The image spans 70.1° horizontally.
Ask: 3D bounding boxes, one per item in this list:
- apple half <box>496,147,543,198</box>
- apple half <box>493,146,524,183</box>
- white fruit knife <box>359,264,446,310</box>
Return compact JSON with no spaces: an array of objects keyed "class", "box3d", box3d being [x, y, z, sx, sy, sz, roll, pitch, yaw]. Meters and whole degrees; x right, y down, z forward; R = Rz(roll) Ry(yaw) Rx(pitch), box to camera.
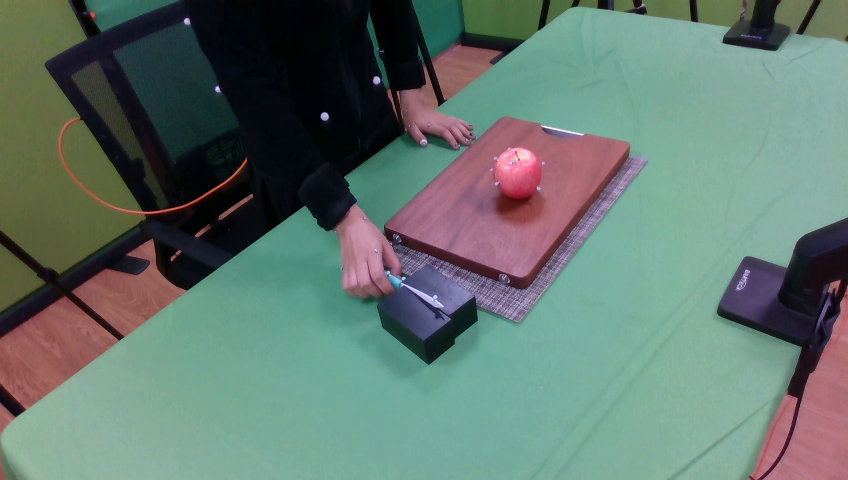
[{"class":"apple half","box3d":[0.164,-0.104,0.991,0.081,0.075,0.053,-31,48,-28]},{"class":"apple half","box3d":[0.139,-0.122,1.015,0.081,0.081,0.032,-34,50,-25]},{"class":"white fruit knife","box3d":[-0.034,0.066,0.869,0.016,0.027,0.205,-35,32,-28]}]
